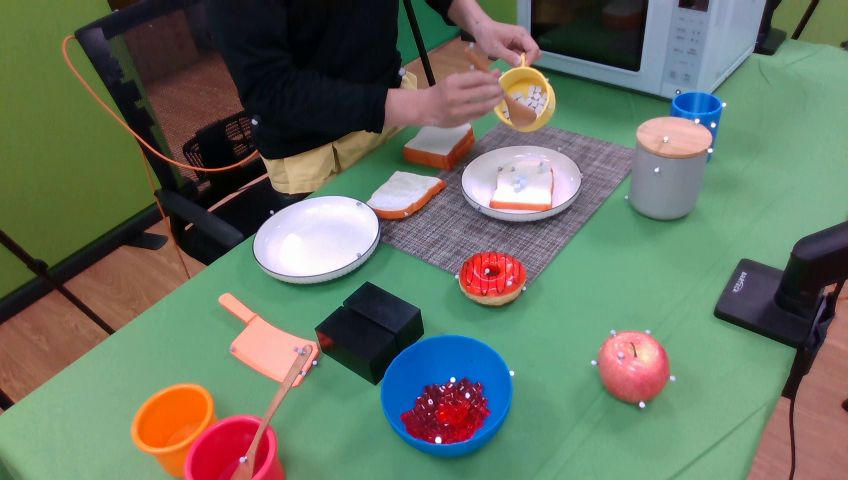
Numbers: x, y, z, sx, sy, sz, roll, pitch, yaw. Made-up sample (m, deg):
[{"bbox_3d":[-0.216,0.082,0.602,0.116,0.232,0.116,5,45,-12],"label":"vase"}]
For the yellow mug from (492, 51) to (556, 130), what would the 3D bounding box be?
[{"bbox_3d":[0.174,-0.261,1.050,0.099,0.130,0.064,0,0,20],"label":"yellow mug"}]

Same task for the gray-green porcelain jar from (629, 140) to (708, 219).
[{"bbox_3d":[0.383,-0.105,0.958,0.106,0.127,0.105,-4,41,4],"label":"gray-green porcelain jar"}]

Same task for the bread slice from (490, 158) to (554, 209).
[{"bbox_3d":[0.173,-0.100,1.047,0.104,0.019,0.131,3,42,12],"label":"bread slice"}]

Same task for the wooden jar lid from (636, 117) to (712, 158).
[{"bbox_3d":[0.377,-0.151,0.917,0.108,0.021,0.108,-2,41,2],"label":"wooden jar lid"}]

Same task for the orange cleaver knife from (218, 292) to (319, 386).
[{"bbox_3d":[-0.235,0.136,0.850,0.209,0.012,0.077,25,57,30],"label":"orange cleaver knife"}]

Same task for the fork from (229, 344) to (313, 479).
[{"bbox_3d":[-0.173,0.205,0.662,0.028,0.019,0.207,29,94,36],"label":"fork"}]

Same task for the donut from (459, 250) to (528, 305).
[{"bbox_3d":[0.100,0.053,0.873,0.099,0.048,0.098,-5,40,4],"label":"donut"}]

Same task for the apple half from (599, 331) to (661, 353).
[{"bbox_3d":[0.249,0.134,0.738,0.081,0.081,0.032,-1,46,7],"label":"apple half"}]

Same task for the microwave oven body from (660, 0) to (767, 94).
[{"bbox_3d":[0.473,-0.516,1.313,0.438,0.261,0.327,26,51,34],"label":"microwave oven body"}]

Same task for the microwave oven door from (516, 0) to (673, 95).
[{"bbox_3d":[0.344,-0.458,1.257,0.353,0.245,0.039,26,52,33],"label":"microwave oven door"}]

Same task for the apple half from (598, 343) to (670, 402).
[{"bbox_3d":[0.247,0.161,0.710,0.081,0.075,0.053,2,47,5],"label":"apple half"}]

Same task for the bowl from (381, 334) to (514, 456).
[{"bbox_3d":[0.029,0.192,0.701,0.151,0.077,0.150,-4,40,4],"label":"bowl"}]

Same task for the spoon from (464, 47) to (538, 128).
[{"bbox_3d":[0.116,-0.228,0.917,0.041,0.195,0.021,-27,46,27],"label":"spoon"}]

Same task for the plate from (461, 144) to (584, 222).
[{"bbox_3d":[0.167,-0.095,1.040,0.207,0.039,0.206,-4,40,4],"label":"plate"}]

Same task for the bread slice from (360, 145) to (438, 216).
[{"bbox_3d":[-0.053,-0.103,1.046,0.106,0.018,0.134,18,66,23],"label":"bread slice"}]

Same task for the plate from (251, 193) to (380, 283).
[{"bbox_3d":[-0.174,-0.001,0.985,0.209,0.038,0.208,-4,41,4],"label":"plate"}]

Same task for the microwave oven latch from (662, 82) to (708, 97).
[{"bbox_3d":[0.518,-0.298,1.202,0.078,0.029,0.030,28,53,35],"label":"microwave oven latch"}]

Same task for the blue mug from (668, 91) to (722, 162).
[{"bbox_3d":[0.474,-0.207,1.078,0.082,0.106,0.116,4,42,13],"label":"blue mug"}]
